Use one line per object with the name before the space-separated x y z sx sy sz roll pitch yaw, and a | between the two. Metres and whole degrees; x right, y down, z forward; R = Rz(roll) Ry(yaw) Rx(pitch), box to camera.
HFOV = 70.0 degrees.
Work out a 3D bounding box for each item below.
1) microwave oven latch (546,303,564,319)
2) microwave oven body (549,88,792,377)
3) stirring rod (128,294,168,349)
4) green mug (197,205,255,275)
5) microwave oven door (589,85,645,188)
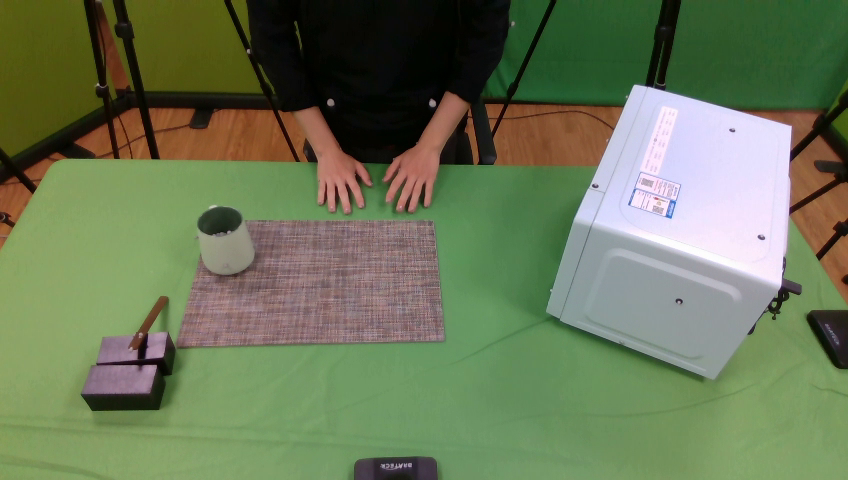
microwave oven latch | 0.242 0.102 1.081 0.030 0.029 0.079 21 48 17
microwave oven body | 0.456 -0.028 1.088 0.325 0.261 0.440 20 47 16
stirring rod | -0.451 0.131 0.996 0.014 0.006 0.175 9 20 -10
green mug | -0.370 -0.008 1.114 0.092 0.105 0.124 -19 50 -20
microwave oven door | 0.342 -0.107 1.149 0.039 0.245 0.354 20 48 15
